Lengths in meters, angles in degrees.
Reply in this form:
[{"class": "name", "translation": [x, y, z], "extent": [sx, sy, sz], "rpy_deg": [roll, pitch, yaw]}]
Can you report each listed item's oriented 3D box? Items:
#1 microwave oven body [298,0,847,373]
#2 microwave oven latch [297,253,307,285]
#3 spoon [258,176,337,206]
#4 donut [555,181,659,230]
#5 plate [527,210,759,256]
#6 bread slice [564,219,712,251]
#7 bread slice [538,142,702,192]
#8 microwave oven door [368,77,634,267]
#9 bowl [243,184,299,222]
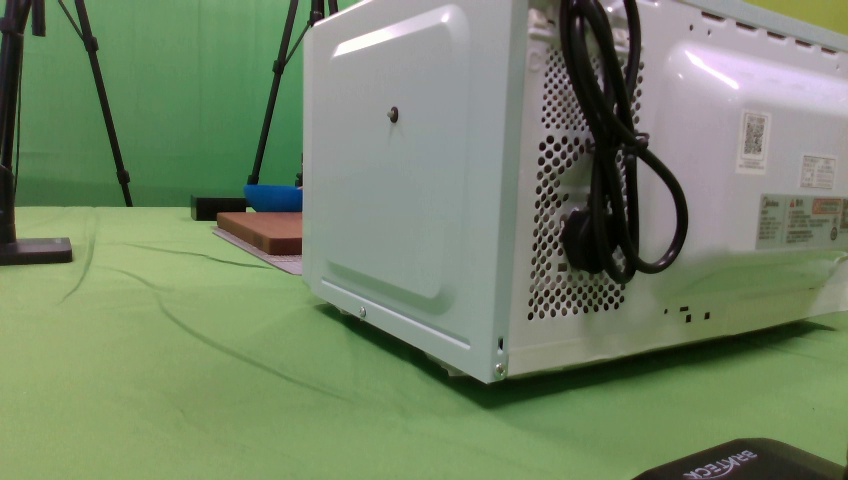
[{"class": "microwave oven body", "translation": [0.151, -0.055, 0.543], "extent": [0.444, 0.260, 0.324], "rpy_deg": [-1, 7, -33]}, {"class": "microwave oven latch", "translation": [-0.082, 0.027, 0.583], "extent": [0.079, 0.029, 0.030], "rpy_deg": [-1, 7, -33]}, {"class": "spoon", "translation": [-0.279, -0.112, 1.357], "extent": [0.194, 0.021, 0.041], "rpy_deg": [-28, 19, -27]}, {"class": "donut", "translation": [0.180, -0.033, 0.597], "extent": [0.099, 0.048, 0.099], "rpy_deg": [-2, 7, 1]}, {"class": "plate", "translation": [0.203, -0.009, 0.580], "extent": [0.208, 0.039, 0.207], "rpy_deg": [0, 3, 0]}, {"class": "bread slice", "translation": [0.207, -0.007, 0.576], "extent": [0.105, 0.019, 0.131], "rpy_deg": [2, 6, -9]}, {"class": "bread slice", "translation": [0.192, -0.071, 0.578], "extent": [0.107, 0.018, 0.133], "rpy_deg": [-1, 19, -33]}, {"class": "microwave oven door", "translation": [0.094, -0.099, 0.832], "extent": [0.355, 0.243, 0.039], "rpy_deg": [5, 8, 18]}, {"class": "bowl", "translation": [-0.321, -0.081, 1.334], "extent": [0.151, 0.077, 0.151], "rpy_deg": [3, 7, 0]}]
